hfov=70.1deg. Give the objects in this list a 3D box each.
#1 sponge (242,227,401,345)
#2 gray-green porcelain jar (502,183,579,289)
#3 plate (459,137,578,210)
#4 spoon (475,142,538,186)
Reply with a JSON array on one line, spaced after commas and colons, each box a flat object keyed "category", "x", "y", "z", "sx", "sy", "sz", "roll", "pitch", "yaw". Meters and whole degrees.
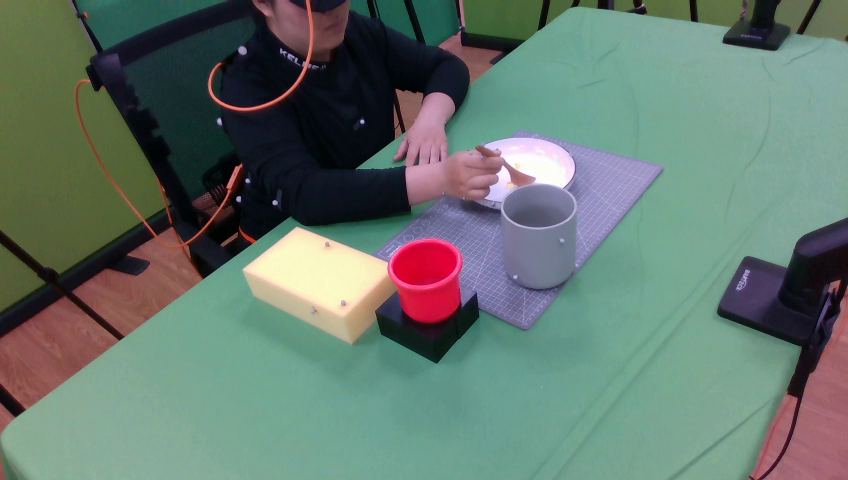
[{"category": "sponge", "x": -0.154, "y": 0.063, "z": 0.907, "sx": 0.205, "sy": 0.061, "sz": 0.118, "roll": 19, "pitch": 48, "yaw": 29}, {"category": "gray-green porcelain jar", "x": 0.167, "y": -0.001, "z": 0.866, "sx": 0.106, "sy": 0.127, "sz": 0.105, "roll": -5, "pitch": 40, "yaw": 5}, {"category": "plate", "x": 0.166, "y": -0.113, "z": 1.068, "sx": 0.207, "sy": 0.039, "sz": 0.206, "roll": -5, "pitch": 40, "yaw": 5}, {"category": "spoon", "x": 0.132, "y": -0.123, "z": 0.984, "sx": 0.041, "sy": 0.195, "sz": 0.021, "roll": -13, "pitch": 66, "yaw": 33}]
